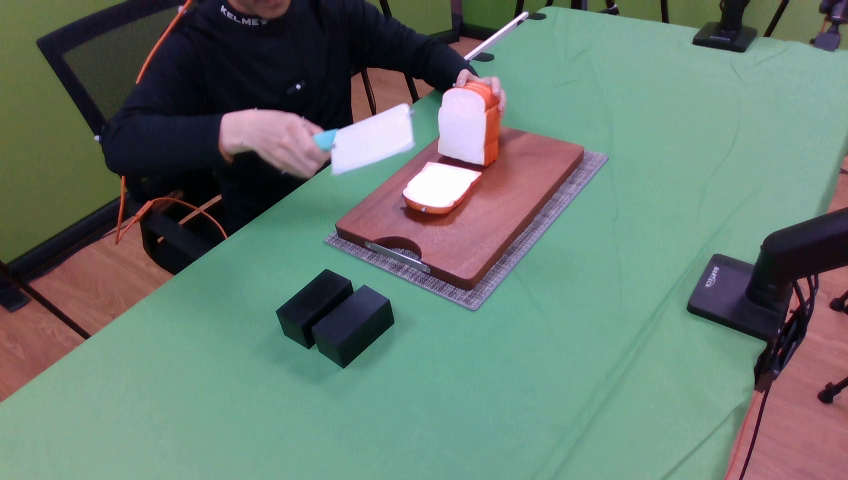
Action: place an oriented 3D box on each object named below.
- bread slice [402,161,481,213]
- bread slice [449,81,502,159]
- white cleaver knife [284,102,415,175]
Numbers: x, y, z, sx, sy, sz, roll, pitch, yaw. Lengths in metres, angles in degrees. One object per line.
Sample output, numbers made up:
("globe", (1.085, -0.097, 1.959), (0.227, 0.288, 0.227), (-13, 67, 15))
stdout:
("bread slice", (0.024, -0.089, 1.020), (0.104, 0.019, 0.132), (16, 42, 22))
("bread slice", (0.093, -0.215, 1.081), (0.106, 0.134, 0.018), (22, 36, 28))
("white cleaver knife", (-0.111, -0.122, 0.809), (0.022, 0.065, 0.284), (3, -7, -42))
